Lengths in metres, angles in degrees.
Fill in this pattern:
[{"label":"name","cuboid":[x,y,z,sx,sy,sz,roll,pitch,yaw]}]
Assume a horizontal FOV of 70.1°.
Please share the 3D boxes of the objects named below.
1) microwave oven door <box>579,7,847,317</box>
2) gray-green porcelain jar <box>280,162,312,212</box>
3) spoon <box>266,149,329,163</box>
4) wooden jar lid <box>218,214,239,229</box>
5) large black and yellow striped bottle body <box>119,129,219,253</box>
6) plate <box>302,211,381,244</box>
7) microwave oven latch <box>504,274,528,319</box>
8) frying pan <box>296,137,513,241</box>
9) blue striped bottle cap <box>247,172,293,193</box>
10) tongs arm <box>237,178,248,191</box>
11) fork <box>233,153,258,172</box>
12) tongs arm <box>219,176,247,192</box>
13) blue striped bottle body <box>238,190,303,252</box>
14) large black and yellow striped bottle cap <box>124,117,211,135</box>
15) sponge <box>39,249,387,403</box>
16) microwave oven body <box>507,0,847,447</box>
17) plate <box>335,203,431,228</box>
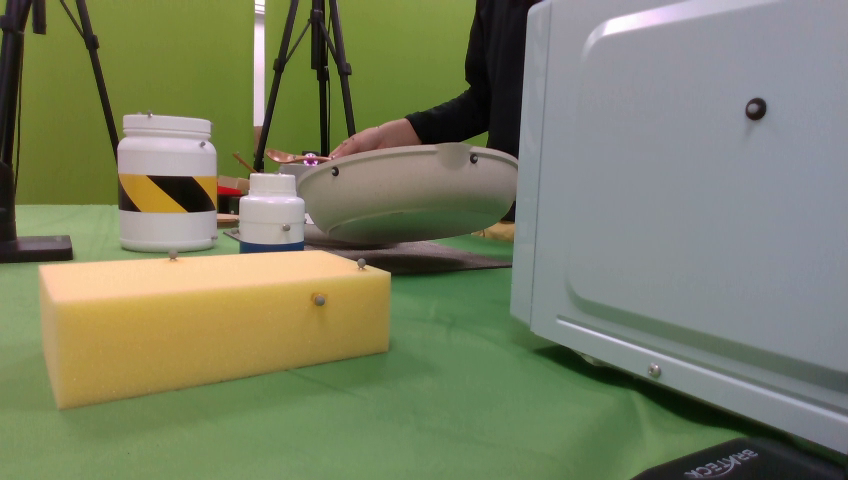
[{"label":"microwave oven door","cuboid":[0.294,-0.067,0.570,0.358,0.243,0.039,-3,9,-31]},{"label":"gray-green porcelain jar","cuboid":[-0.238,-0.092,1.221,0.106,0.126,0.106,2,8,0]},{"label":"spoon","cuboid":[-0.218,-0.164,1.218,0.194,0.021,0.041,2,33,-13]},{"label":"wooden jar lid","cuboid":[-0.404,-0.037,1.169,0.108,0.020,0.108,3,7,0]},{"label":"large black and yellow striped bottle body","cuboid":[-0.367,-0.080,0.876,0.131,0.184,0.130,2,7,0]},{"label":"plate","cuboid":[-0.139,-0.022,1.021,0.209,0.038,0.209,2,8,0]},{"label":"microwave oven latch","cuboid":[0.100,0.041,0.471,0.079,0.029,0.030,-1,7,-28]},{"label":"frying pan","cuboid":[0.079,-0.072,0.826,0.490,0.102,0.306,-11,-5,-22]},{"label":"blue striped bottle cap","cuboid":[-0.152,-0.057,0.598,0.044,0.020,0.044,3,6,0]},{"label":"tongs arm","cuboid":[-0.242,-0.095,1.374,0.387,0.026,0.050,9,0,-37]},{"label":"fork","cuboid":[-0.396,-0.143,1.486,0.028,0.018,0.208,21,-26,45]},{"label":"tongs arm","cuboid":[-0.286,-0.104,1.445,0.389,0.027,0.028,9,-4,-23]},{"label":"blue striped bottle body","cuboid":[-0.153,-0.007,0.606,0.063,0.120,0.063,2,8,0]},{"label":"large black and yellow striped bottle cap","cuboid":[-0.366,-0.163,0.866,0.115,0.019,0.115,3,7,0]},{"label":"sponge","cuboid":[-0.142,0.047,0.420,0.208,0.061,0.117,-3,8,-36]},{"label":"microwave oven body","cuboid":[0.331,-0.042,0.425,0.444,0.260,0.324,-2,8,-31]},{"label":"plate","cuboid":[-0.089,-0.053,1.309,0.208,0.039,0.207,2,8,0]}]
